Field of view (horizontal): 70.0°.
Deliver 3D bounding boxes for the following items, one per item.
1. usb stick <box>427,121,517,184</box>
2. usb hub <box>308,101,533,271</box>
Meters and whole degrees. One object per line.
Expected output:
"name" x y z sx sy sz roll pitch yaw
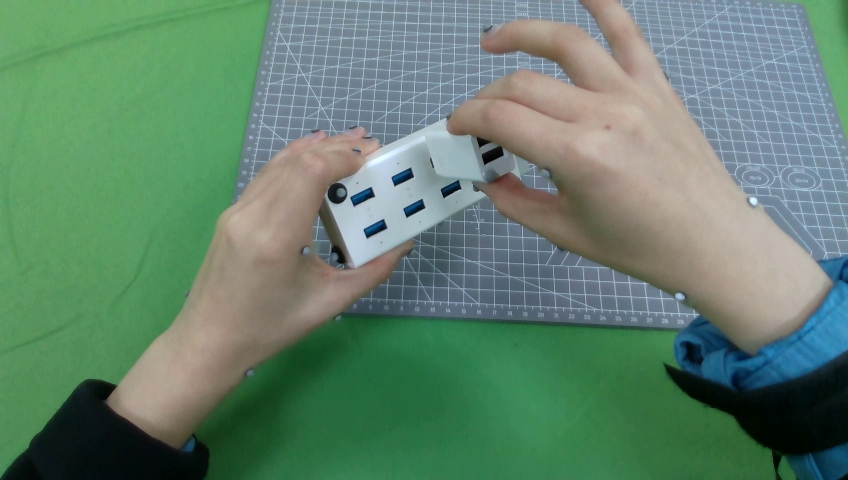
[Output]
"usb stick" 0.019 -0.045 0.304 0.021 0.059 0.027 -27 108 -22
"usb hub" 0.002 -0.033 0.336 0.125 0.025 0.050 -29 110 -24
